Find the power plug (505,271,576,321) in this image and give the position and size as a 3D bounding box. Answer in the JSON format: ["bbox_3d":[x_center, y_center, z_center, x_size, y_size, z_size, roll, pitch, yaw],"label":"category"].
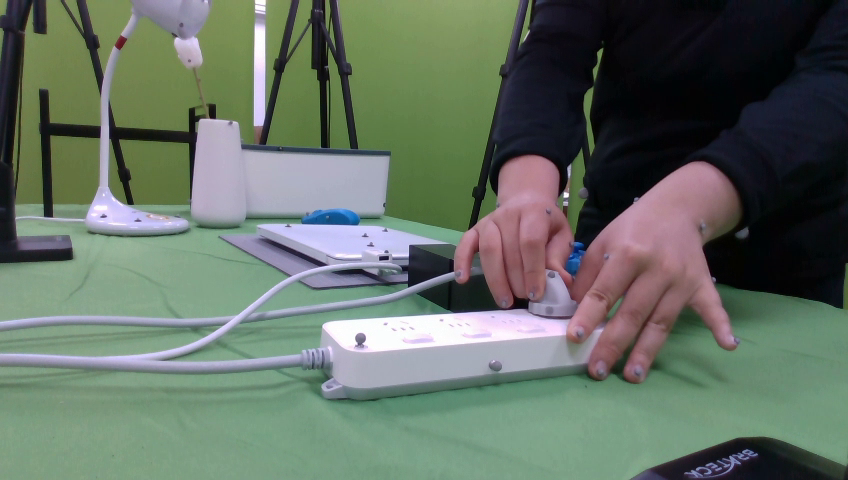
[{"bbox_3d":[0.091,0.051,0.471,0.035,0.052,0.072,-1,4,-11],"label":"power plug"}]

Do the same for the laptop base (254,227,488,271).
[{"bbox_3d":[-0.096,0.011,0.911,0.237,0.023,0.352,2,6,-32],"label":"laptop base"}]

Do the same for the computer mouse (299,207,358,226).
[{"bbox_3d":[-0.195,-0.046,1.240,0.117,0.041,0.063,0,9,12],"label":"computer mouse"}]

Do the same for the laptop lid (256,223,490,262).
[{"bbox_3d":[-0.093,0.000,0.910,0.243,0.013,0.355,1,7,-30],"label":"laptop lid"}]

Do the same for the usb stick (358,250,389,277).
[{"bbox_3d":[-0.062,0.027,0.707,0.021,0.027,0.059,-4,5,-28],"label":"usb stick"}]

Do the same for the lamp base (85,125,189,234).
[{"bbox_3d":[-0.498,-0.105,1.026,0.179,0.180,0.160,1,7,3],"label":"lamp base"}]

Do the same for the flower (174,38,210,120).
[{"bbox_3d":[-0.402,-0.207,1.140,0.038,0.361,0.044,-14,3,44],"label":"flower"}]

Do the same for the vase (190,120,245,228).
[{"bbox_3d":[-0.390,-0.123,1.142,0.098,0.200,0.098,3,9,0],"label":"vase"}]

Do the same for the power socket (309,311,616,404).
[{"bbox_3d":[0.032,0.074,0.414,0.228,0.032,0.072,-1,8,-25],"label":"power socket"}]

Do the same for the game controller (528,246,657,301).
[{"bbox_3d":[0.201,0.037,0.732,0.155,0.051,0.097,5,10,20],"label":"game controller"}]

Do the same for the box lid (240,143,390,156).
[{"bbox_3d":[-0.295,-0.216,1.463,0.373,0.015,0.262,-1,8,-29],"label":"box lid"}]

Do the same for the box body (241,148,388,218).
[{"bbox_3d":[-0.297,-0.143,1.473,0.366,0.160,0.253,-1,9,-30],"label":"box body"}]

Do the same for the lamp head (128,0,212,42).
[{"bbox_3d":[-0.423,-0.394,0.979,0.123,0.112,0.112,20,7,-3],"label":"lamp head"}]
